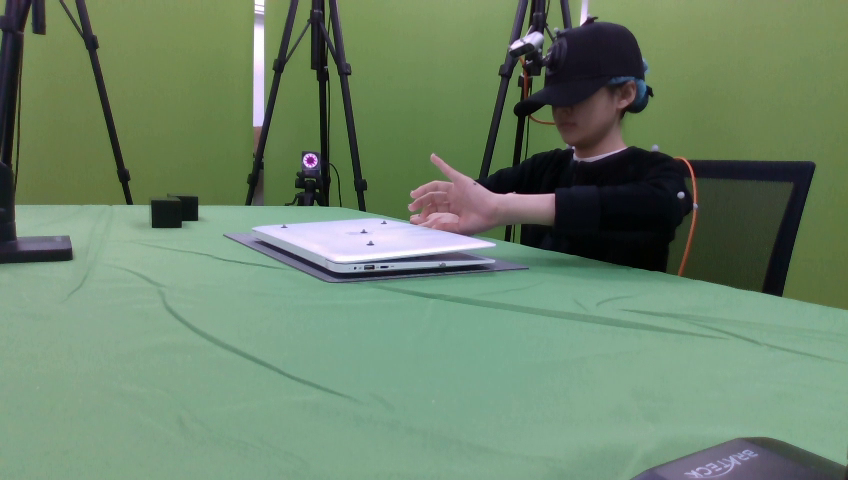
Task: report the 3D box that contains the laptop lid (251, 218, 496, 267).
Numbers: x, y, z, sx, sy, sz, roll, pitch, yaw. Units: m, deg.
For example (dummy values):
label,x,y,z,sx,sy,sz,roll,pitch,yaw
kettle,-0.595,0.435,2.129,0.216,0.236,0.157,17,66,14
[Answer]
label,x,y,z,sx,sy,sz,roll,pitch,yaw
laptop lid,-0.090,-0.005,0.882,0.243,0.013,0.355,-5,11,-30

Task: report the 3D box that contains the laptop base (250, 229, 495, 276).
label,x,y,z,sx,sy,sz,roll,pitch,yaw
laptop base,-0.093,0.015,0.883,0.237,0.023,0.352,2,7,-32
